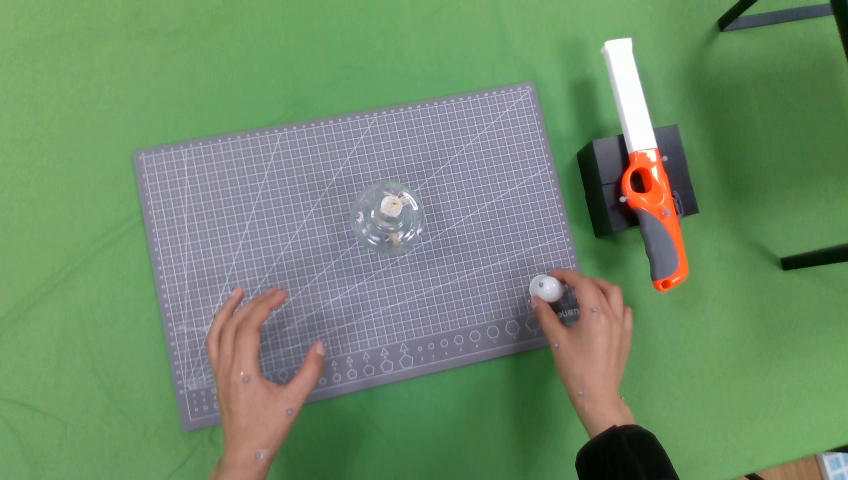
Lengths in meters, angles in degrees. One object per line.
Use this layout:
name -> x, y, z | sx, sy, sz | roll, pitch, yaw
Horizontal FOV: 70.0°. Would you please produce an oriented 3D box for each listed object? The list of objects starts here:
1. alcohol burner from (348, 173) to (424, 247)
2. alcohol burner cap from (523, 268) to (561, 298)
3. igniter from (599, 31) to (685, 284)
alcohol burner -> -0.037, -0.033, 0.610 | 0.078, 0.119, 0.077 | 1, 83, -8
alcohol burner cap -> 0.129, 0.047, 0.654 | 0.034, 0.048, 0.034 | 0, 88, -8
igniter -> 0.232, -0.091, 0.646 | 0.057, 0.025, 0.275 | -9, 82, -7
